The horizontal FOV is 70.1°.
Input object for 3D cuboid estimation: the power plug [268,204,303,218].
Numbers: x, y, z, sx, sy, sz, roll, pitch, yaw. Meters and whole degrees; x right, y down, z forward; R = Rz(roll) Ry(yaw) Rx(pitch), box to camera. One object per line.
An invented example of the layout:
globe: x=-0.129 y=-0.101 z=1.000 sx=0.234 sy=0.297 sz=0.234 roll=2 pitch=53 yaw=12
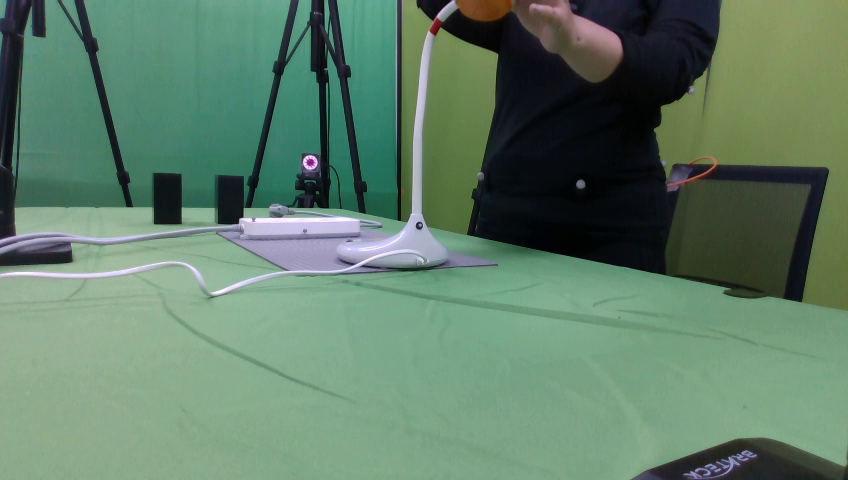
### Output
power plug: x=-0.327 y=-0.060 z=1.404 sx=0.073 sy=0.035 sz=0.052 roll=22 pitch=-14 yaw=-25

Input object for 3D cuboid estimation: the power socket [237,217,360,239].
power socket: x=-0.221 y=-0.023 z=1.080 sx=0.228 sy=0.032 sz=0.072 roll=-2 pitch=8 yaw=-32

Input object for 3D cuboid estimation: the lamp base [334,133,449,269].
lamp base: x=-0.034 y=-0.057 z=0.831 sx=0.161 sy=0.180 sz=0.178 roll=-2 pitch=11 yaw=-36

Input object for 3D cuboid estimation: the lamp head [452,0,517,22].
lamp head: x=0.070 y=-0.320 z=0.705 sx=0.112 sy=0.122 sz=0.112 roll=7 pitch=-3 yaw=1
